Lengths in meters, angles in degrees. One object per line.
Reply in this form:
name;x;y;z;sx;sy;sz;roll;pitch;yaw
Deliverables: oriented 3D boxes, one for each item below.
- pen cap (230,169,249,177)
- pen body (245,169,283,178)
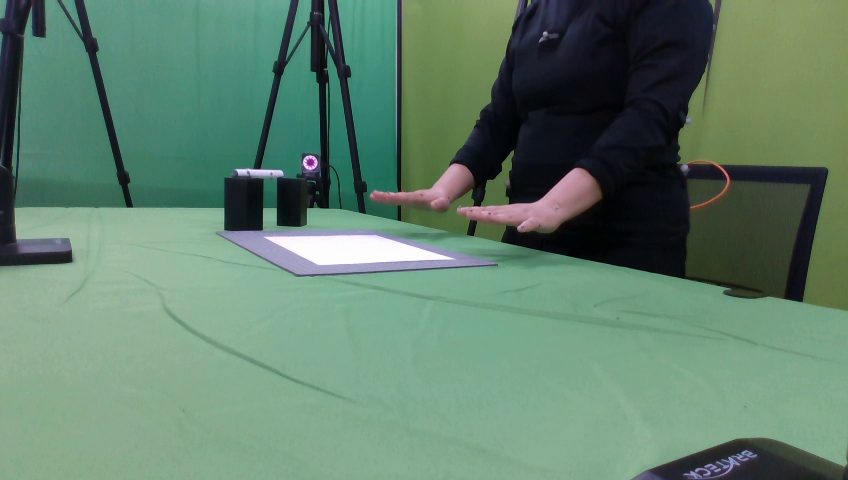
pen cap;-0.347;-0.125;1.138;0.017;0.017;0.038;6;8;21
pen body;-0.325;-0.130;1.195;0.017;0.017;0.144;6;7;22
